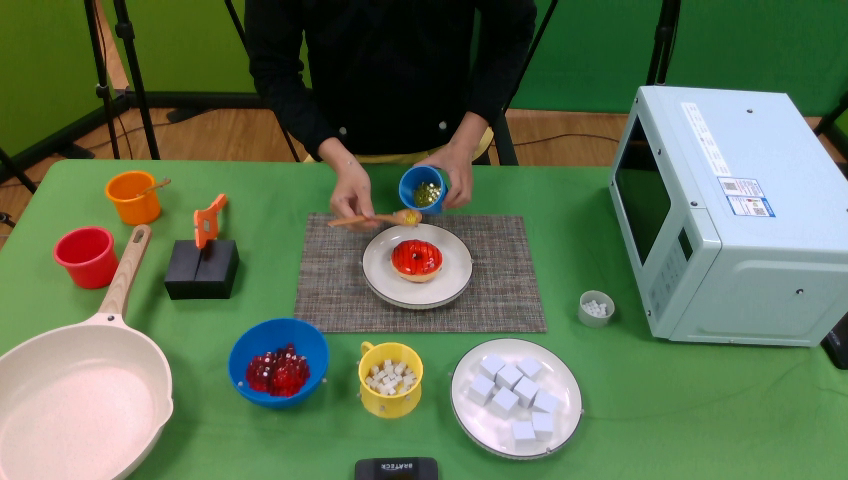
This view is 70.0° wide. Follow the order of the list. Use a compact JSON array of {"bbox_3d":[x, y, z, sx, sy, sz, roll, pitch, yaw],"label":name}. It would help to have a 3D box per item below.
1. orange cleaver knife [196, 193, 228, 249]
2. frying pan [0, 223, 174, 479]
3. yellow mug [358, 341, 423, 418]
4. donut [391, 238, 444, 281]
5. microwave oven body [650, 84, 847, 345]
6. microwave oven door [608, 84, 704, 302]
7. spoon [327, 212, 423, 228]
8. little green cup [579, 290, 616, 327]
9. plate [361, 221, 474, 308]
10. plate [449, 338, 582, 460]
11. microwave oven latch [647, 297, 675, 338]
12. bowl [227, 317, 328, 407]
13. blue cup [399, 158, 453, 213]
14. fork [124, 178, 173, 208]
[{"bbox_3d":[-0.406,-0.041,1.163,0.012,0.077,0.210,0,18,-3],"label":"orange cleaver knife"},{"bbox_3d":[-0.505,0.169,0.941,0.307,0.103,0.485,5,54,-1],"label":"frying pan"},{"bbox_3d":[-0.062,0.210,0.961,0.100,0.064,0.130,-29,54,-27],"label":"yellow mug"},{"bbox_3d":[-0.011,0.035,1.128,0.099,0.048,0.098,3,43,-2],"label":"donut"},{"bbox_3d":[0.569,-0.054,1.115,0.326,0.261,0.439,2,46,-1],"label":"microwave oven body"},{"bbox_3d":[0.424,-0.096,1.138,0.039,0.245,0.353,2,47,-1],"label":"microwave oven door"},{"bbox_3d":[-0.080,-0.034,1.025,0.194,0.022,0.041,-2,40,-43],"label":"spoon"},{"bbox_3d":[0.308,0.124,1.086,0.061,0.039,0.061,1,45,-1],"label":"little green cup"},{"bbox_3d":[-0.011,0.049,1.130,0.209,0.038,0.208,2,46,-2],"label":"plate"},{"bbox_3d":[0.141,0.251,0.955,0.208,0.039,0.206,2,46,-2],"label":"plate"},{"bbox_3d":[0.413,0.133,1.060,0.030,0.029,0.078,5,46,2],"label":"microwave oven latch"},{"bbox_3d":[-0.223,0.203,0.947,0.151,0.077,0.150,2,46,-2],"label":"bowl"},{"bbox_3d":[0.012,-0.092,1.141,0.092,0.100,0.092,-5,76,20],"label":"blue cup"},{"bbox_3d":[-0.525,-0.089,1.153,0.207,0.019,0.028,-18,27,45],"label":"fork"}]
